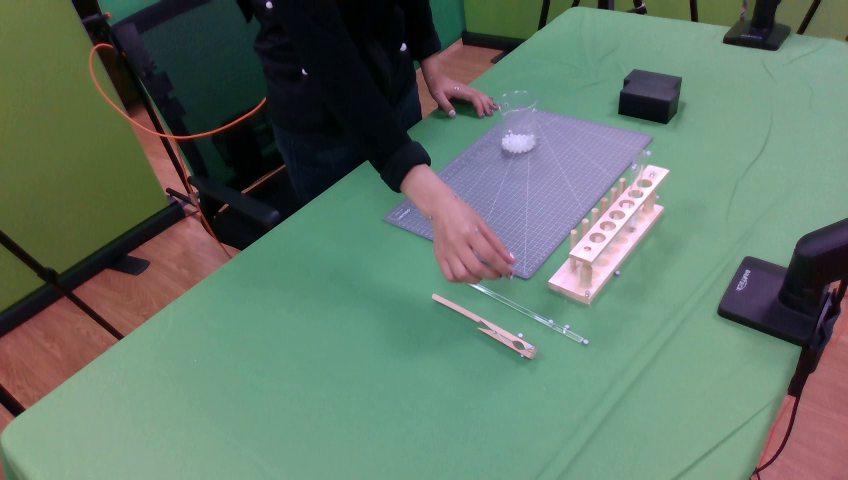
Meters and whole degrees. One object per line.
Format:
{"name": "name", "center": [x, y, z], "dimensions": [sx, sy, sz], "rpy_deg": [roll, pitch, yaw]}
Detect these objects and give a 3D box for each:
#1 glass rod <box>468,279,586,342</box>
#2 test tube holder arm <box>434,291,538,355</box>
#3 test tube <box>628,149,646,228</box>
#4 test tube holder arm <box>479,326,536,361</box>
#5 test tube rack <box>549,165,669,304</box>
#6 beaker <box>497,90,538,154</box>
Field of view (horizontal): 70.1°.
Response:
{"name": "glass rod", "center": [0.140, 0.096, 0.852], "dimensions": [0.198, 0.008, 0.008], "rpy_deg": [27, 52, 34]}
{"name": "test tube holder arm", "center": [0.081, 0.112, 0.832], "dimensions": [0.177, 0.015, 0.013], "rpy_deg": [29, 83, 36]}
{"name": "test tube", "center": [0.309, -0.071, 0.882], "dimensions": [0.017, 0.151, 0.017], "rpy_deg": [-7, 47, 8]}
{"name": "test tube holder arm", "center": [0.110, 0.134, 0.805], "dimensions": [0.087, 0.015, 0.010], "rpy_deg": [29, 83, 36]}
{"name": "test tube rack", "center": [0.279, -0.018, 0.902], "dimensions": [0.066, 0.085, 0.243], "rpy_deg": [24, 50, 33]}
{"name": "beaker", "center": [0.176, -0.220, 1.143], "dimensions": [0.073, 0.101, 0.084], "rpy_deg": [27, 52, 35]}
